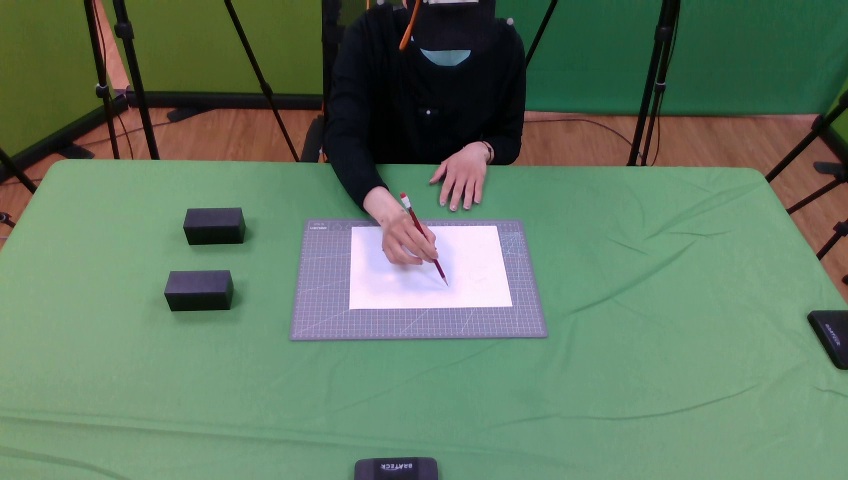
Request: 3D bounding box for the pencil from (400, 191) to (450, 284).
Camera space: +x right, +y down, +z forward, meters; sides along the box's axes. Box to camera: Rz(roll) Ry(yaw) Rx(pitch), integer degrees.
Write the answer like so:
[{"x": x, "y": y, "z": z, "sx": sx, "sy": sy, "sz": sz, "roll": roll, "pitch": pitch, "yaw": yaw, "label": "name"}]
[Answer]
[{"x": 0.004, "y": -0.002, "z": 1.096, "sx": 0.012, "sy": 0.194, "sz": 0.012, "roll": -26, "pitch": 13, "yaw": 6, "label": "pencil"}]
